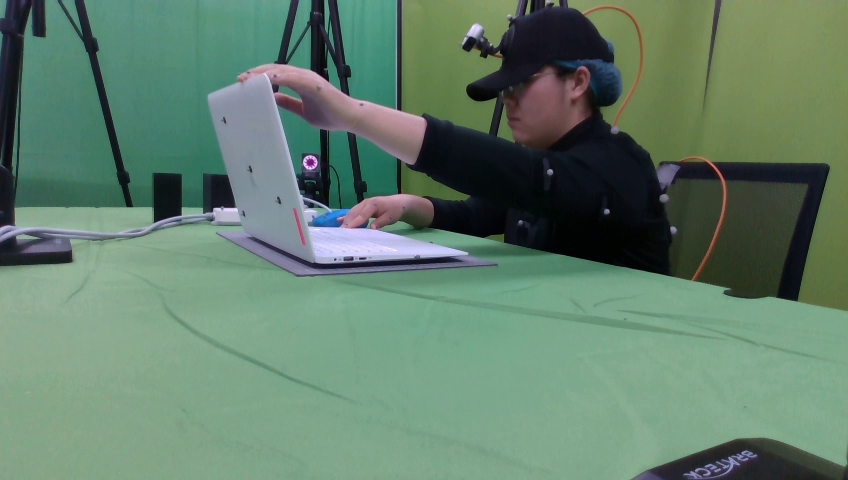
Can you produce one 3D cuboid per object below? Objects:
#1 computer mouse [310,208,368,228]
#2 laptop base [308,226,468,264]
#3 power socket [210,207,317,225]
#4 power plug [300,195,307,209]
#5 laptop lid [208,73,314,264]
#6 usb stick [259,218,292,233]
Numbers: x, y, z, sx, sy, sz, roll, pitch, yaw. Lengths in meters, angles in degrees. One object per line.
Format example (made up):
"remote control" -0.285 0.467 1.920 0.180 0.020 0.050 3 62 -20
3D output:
"computer mouse" -0.179 -0.045 1.274 0.118 0.041 0.062 -6 13 -29
"laptop base" -0.122 0.006 0.954 0.237 0.023 0.352 2 6 -31
"power socket" -0.335 -0.051 1.282 0.228 0.032 0.072 -1 9 -28
"power plug" -0.281 -0.076 1.340 0.035 0.052 0.072 4 6 -18
"laptop lid" -0.244 -0.102 0.863 0.013 0.241 0.355 -18 18 -27
"usb stick" -0.272 -0.026 1.107 0.059 0.027 0.021 -2 11 -27
